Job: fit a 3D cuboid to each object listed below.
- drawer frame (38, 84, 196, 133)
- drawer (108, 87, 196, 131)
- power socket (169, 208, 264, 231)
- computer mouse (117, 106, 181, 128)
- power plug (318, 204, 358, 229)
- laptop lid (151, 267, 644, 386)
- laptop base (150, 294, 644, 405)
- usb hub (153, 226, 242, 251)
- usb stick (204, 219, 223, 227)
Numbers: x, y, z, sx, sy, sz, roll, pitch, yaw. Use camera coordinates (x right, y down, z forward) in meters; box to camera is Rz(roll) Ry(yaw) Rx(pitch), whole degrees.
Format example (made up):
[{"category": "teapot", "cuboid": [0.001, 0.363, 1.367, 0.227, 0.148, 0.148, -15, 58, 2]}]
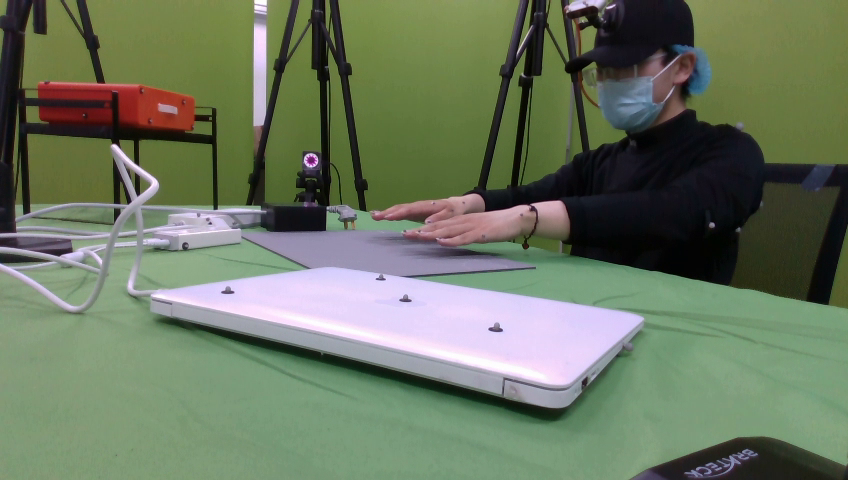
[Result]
[{"category": "drawer frame", "cuboid": [-0.612, -0.265, 1.229, 0.213, 0.082, 0.202, 3, 8, 7]}, {"category": "drawer", "cuboid": [-0.609, -0.264, 1.229, 0.211, 0.073, 0.194, 3, 8, 9]}, {"category": "power socket", "cuboid": [-0.381, -0.038, 1.128, 0.072, 0.032, 0.227, 4, 8, 16]}, {"category": "computer mouse", "cuboid": [-0.565, -0.252, 1.242, 0.062, 0.041, 0.118, 18, 26, 42]}, {"category": "power plug", "cuboid": [-0.169, -0.044, 1.208, 0.072, 0.052, 0.035, -10, -12, -1]}, {"category": "laptop lid", "cuboid": [-0.018, 0.054, 0.507, 0.355, 0.013, 0.243, 7, 6, 31]}, {"category": "laptop base", "cuboid": [-0.019, 0.066, 0.507, 0.353, 0.023, 0.236, 6, 5, 30]}, {"category": "usb hub", "cuboid": [-0.337, -0.003, 0.907, 0.049, 0.025, 0.125, 6, 9, 28]}, {"category": "usb stick", "cuboid": [-0.346, -0.018, 1.010, 0.021, 0.027, 0.059, -43, -1, -8]}]
